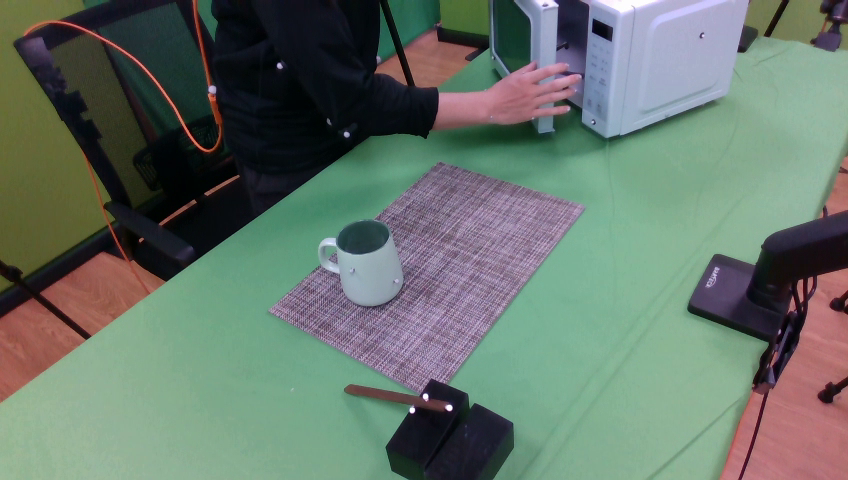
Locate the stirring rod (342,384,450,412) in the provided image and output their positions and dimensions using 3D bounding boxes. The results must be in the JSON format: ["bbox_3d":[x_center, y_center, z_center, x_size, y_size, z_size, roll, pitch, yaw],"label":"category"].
[{"bbox_3d":[-0.038,0.186,0.714,0.175,0.006,0.014,-3,22,43],"label":"stirring rod"}]

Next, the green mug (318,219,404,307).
[{"bbox_3d":[-0.096,0.032,0.876,0.125,0.105,0.092,8,43,17],"label":"green mug"}]

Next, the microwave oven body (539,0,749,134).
[{"bbox_3d":[0.382,-0.445,1.246,0.327,0.261,0.437,-22,42,-16],"label":"microwave oven body"}]

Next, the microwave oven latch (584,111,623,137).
[{"bbox_3d":[0.337,-0.222,1.142,0.030,0.029,0.078,-21,42,-14],"label":"microwave oven latch"}]

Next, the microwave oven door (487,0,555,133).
[{"bbox_3d":[0.191,-0.407,1.223,0.039,0.245,0.353,-11,41,-5],"label":"microwave oven door"}]
